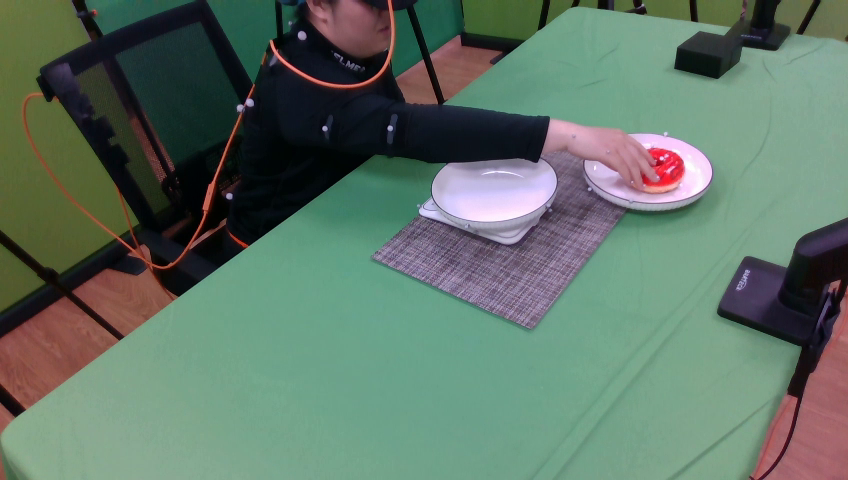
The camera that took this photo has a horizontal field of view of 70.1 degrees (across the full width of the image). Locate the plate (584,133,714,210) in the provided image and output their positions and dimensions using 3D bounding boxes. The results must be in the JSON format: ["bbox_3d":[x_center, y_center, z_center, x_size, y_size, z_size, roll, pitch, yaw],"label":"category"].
[{"bbox_3d":[0.379,-0.113,1.030,0.209,0.038,0.208,-4,41,4],"label":"plate"}]

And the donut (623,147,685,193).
[{"bbox_3d":[0.387,-0.119,1.019,0.099,0.048,0.098,-6,43,6],"label":"donut"}]

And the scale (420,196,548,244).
[{"bbox_3d":[0.106,-0.064,1.029,0.199,0.032,0.149,21,48,32],"label":"scale"}]

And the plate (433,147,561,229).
[{"bbox_3d":[0.120,-0.082,0.997,0.207,0.039,0.206,-6,40,6],"label":"plate"}]
